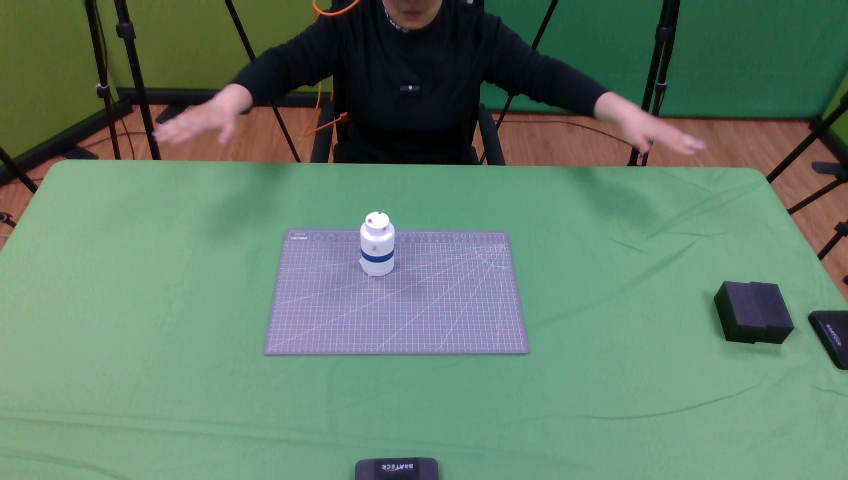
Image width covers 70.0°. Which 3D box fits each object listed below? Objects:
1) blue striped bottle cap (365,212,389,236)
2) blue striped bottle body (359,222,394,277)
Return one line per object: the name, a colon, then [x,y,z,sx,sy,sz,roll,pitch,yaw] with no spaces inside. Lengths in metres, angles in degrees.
blue striped bottle cap: [-0.084,-0.029,1.077,0.044,0.021,0.044,1,46,-1]
blue striped bottle body: [-0.087,0.006,1.113,0.063,0.121,0.062,2,46,-2]
